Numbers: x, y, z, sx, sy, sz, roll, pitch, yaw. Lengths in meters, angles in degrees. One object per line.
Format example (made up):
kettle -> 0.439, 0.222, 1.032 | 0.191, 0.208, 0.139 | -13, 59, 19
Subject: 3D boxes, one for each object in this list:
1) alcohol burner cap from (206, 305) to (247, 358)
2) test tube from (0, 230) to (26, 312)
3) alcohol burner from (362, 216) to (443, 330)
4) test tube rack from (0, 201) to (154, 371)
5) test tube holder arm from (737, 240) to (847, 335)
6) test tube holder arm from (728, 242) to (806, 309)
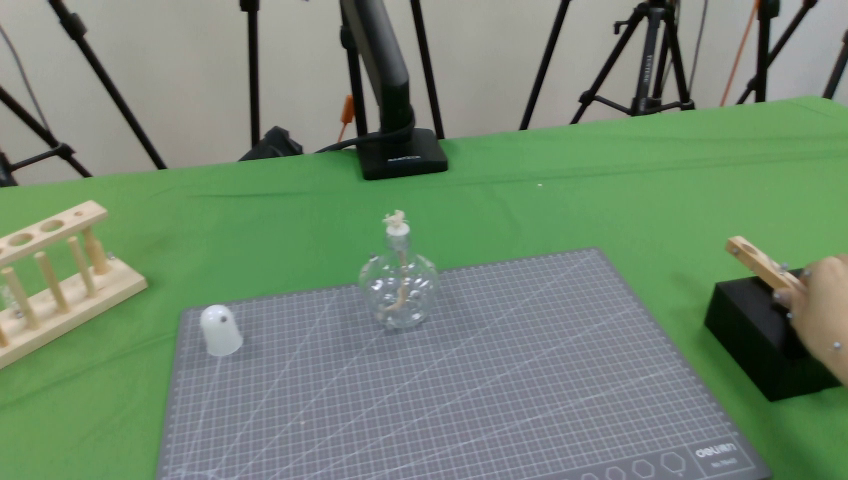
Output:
alcohol burner cap -> -0.184, 0.081, 0.558 | 0.034, 0.048, 0.033 | 0, 36, 1
test tube -> -0.393, 0.004, 0.554 | 0.017, 0.151, 0.017 | 1, 30, 0
alcohol burner -> -0.021, 0.026, 0.569 | 0.078, 0.120, 0.077 | 0, 37, 0
test tube rack -> -0.390, 0.059, 0.562 | 0.066, 0.086, 0.242 | 25, 43, 32
test tube holder arm -> 0.337, 0.053, 0.524 | 0.013, 0.015, 0.176 | -21, 40, -12
test tube holder arm -> 0.315, 0.031, 0.556 | 0.010, 0.015, 0.087 | -21, 40, -12
